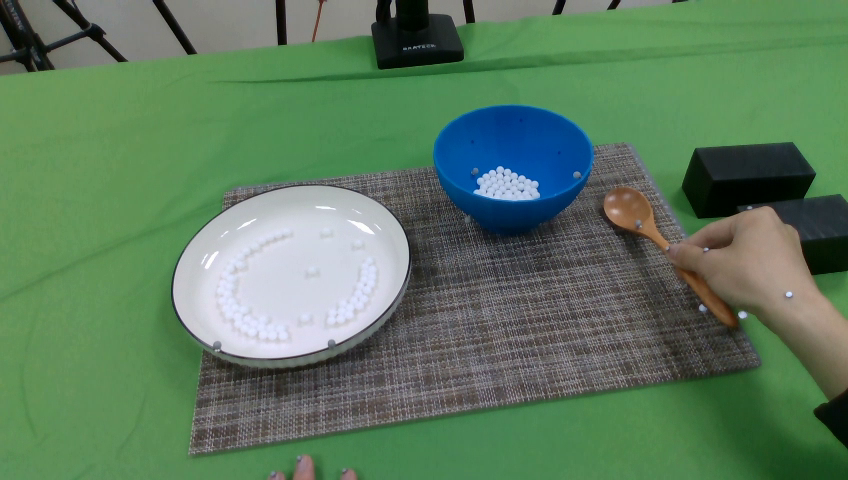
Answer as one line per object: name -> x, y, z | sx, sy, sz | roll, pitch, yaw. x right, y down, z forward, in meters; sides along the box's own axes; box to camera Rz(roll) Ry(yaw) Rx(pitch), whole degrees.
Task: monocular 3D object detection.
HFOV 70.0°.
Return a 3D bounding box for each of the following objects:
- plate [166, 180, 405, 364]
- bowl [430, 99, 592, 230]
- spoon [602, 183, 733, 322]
plate -> -0.120, 0.027, 0.546 | 0.207, 0.039, 0.205 | -1, 47, 2
bowl -> 0.082, -0.063, 0.593 | 0.151, 0.077, 0.150 | -1, 46, 2
spoon -> 0.213, 0.005, 0.542 | 0.041, 0.022, 0.191 | -27, 36, 6
